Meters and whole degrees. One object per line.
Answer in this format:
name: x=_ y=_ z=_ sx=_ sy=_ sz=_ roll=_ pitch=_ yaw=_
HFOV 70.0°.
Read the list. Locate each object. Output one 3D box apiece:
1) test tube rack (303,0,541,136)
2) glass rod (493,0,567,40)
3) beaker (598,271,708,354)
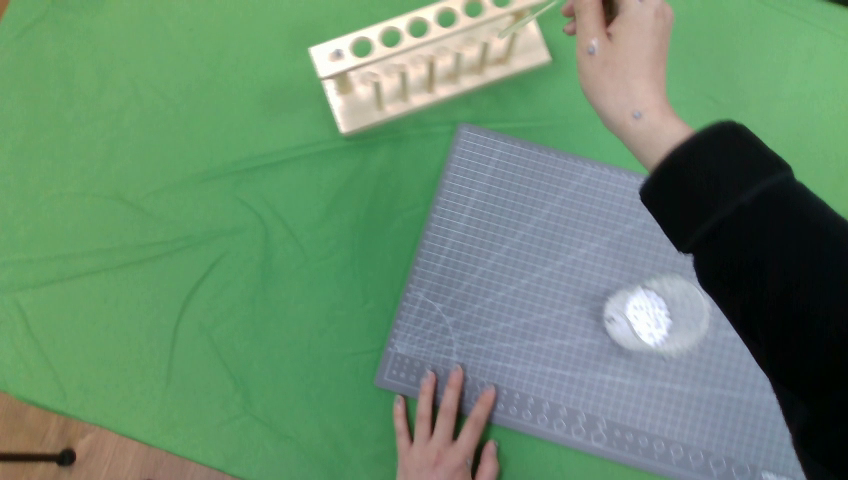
test tube rack: x=0.005 y=-0.193 z=0.636 sx=0.242 sy=0.085 sz=0.066 roll=-21 pitch=81 yaw=-3
glass rod: x=0.105 y=-0.182 z=0.453 sx=0.008 sy=0.198 sz=0.008 roll=0 pitch=90 yaw=-24
beaker: x=0.212 y=0.072 z=0.587 sx=0.084 sy=0.100 sz=0.073 roll=5 pitch=80 yaw=2
